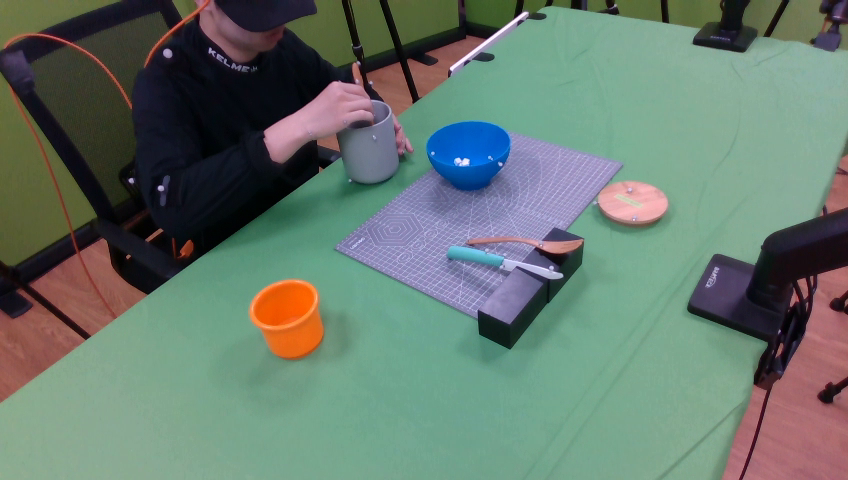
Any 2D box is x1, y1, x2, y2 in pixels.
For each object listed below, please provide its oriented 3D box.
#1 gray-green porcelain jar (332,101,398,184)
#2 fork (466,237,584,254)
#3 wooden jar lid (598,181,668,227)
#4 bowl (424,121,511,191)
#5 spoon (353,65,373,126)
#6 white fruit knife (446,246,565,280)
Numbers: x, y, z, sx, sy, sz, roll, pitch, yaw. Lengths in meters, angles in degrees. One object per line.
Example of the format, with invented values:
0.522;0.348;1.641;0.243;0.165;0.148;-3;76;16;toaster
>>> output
-0.105;-0.174;1.108;0.106;0.127;0.105;-4;40;4;gray-green porcelain jar
0.142;0.005;0.894;0.205;0.019;0.028;4;44;41;fork
0.340;-0.058;0.988;0.108;0.021;0.108;-5;41;5;wooden jar lid
0.080;-0.140;1.074;0.151;0.077;0.150;-4;40;4;bowl
-0.095;-0.212;1.072;0.042;0.194;0.021;-33;27;-32;spoon
0.111;0.033;0.868;0.205;0.027;0.016;11;43;40;white fruit knife
